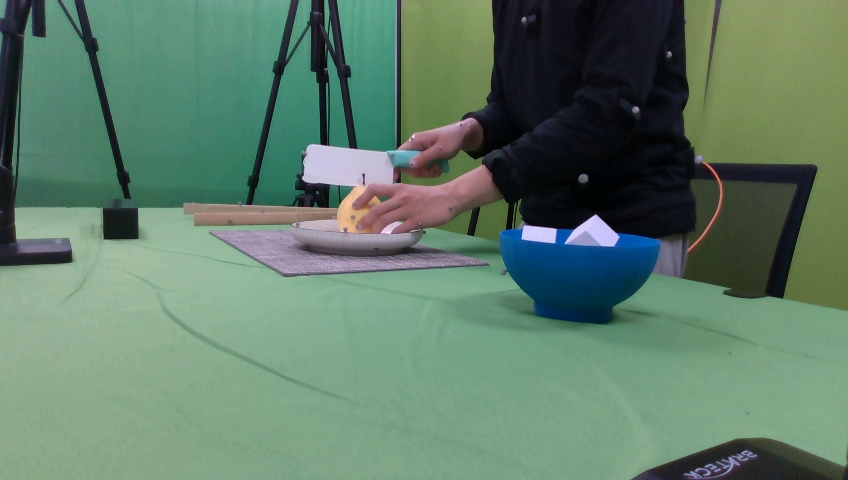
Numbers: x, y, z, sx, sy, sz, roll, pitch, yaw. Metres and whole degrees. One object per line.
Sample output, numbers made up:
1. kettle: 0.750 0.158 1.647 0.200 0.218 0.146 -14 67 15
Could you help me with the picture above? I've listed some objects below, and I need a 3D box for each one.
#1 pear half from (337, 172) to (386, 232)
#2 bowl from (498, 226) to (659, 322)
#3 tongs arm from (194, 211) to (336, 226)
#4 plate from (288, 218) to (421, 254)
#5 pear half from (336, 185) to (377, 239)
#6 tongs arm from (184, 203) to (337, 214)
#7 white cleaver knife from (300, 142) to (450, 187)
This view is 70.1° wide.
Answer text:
1. pear half: -0.093 -0.051 0.949 0.077 0.110 0.055 -8 9 -35
2. bowl: 0.145 0.032 0.585 0.151 0.077 0.151 2 7 0
3. tongs arm: -0.298 -0.049 1.307 0.390 0.028 0.028 -3 8 -37
4. plate: -0.109 -0.007 0.956 0.208 0.039 0.207 2 7 0
5. pear half: -0.114 -0.046 0.978 0.071 0.088 0.031 -5 10 -37
6. tongs arm: -0.337 -0.065 1.376 0.387 0.026 0.050 0 10 -25
7. white cleaver knife: -0.072 -0.119 0.983 0.288 0.066 0.021 -3 10 -38
